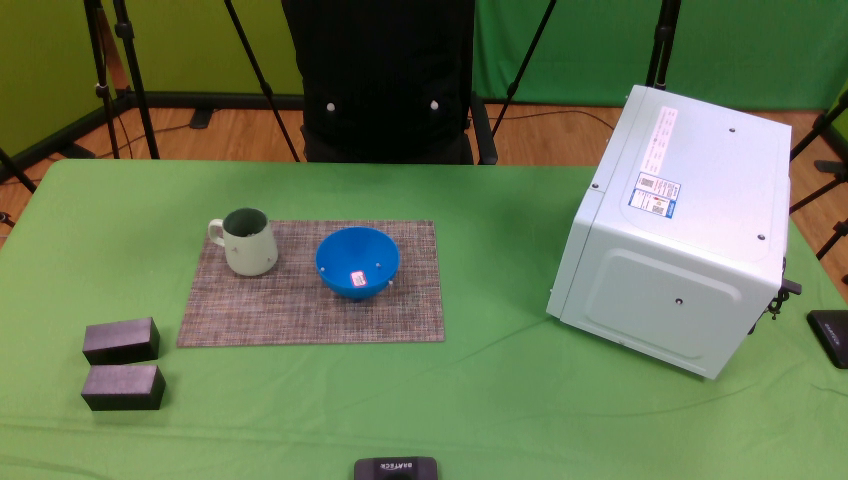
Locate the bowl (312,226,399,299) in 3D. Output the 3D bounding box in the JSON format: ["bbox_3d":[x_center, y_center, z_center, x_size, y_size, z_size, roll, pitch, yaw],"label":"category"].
[{"bbox_3d":[-0.120,0.054,1.091,0.151,0.077,0.150,2,46,-2],"label":"bowl"}]

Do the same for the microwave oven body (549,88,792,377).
[{"bbox_3d":[0.456,-0.028,1.088,0.325,0.261,0.440,20,47,16],"label":"microwave oven body"}]

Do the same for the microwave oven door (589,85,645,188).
[{"bbox_3d":[0.342,-0.107,1.149,0.039,0.245,0.354,20,48,15],"label":"microwave oven door"}]

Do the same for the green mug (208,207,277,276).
[{"bbox_3d":[-0.335,0.000,1.108,0.125,0.105,0.092,14,47,9],"label":"green mug"}]

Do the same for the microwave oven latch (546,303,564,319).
[{"bbox_3d":[0.242,0.102,1.081,0.030,0.029,0.079,21,48,17],"label":"microwave oven latch"}]
